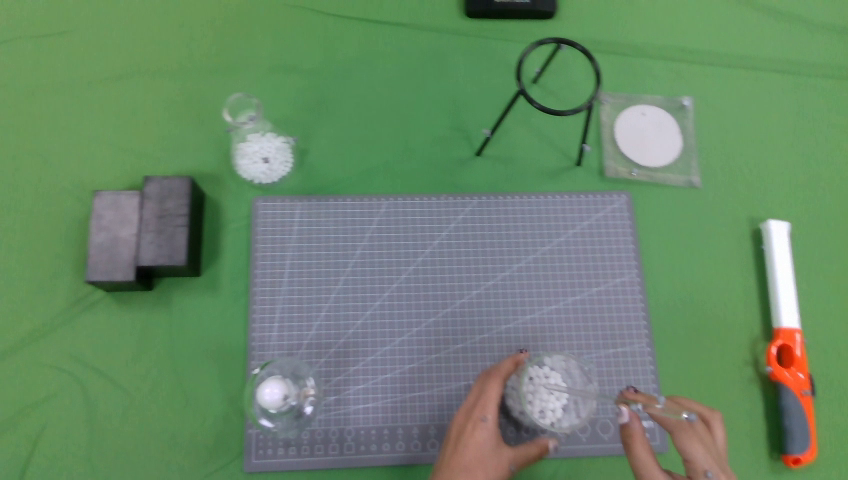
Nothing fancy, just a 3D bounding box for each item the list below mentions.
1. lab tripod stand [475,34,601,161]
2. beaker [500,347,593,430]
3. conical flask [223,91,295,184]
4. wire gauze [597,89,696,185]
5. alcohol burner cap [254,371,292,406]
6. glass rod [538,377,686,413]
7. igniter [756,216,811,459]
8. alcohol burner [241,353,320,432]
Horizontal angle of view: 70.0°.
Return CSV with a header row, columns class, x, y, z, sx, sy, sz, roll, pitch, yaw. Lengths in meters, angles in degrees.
class,x,y,z,sx,sy,sz,roll,pitch,yaw
lab tripod stand,0.133,-0.154,0.687,0.148,0.132,0.147,1,76,-4
beaker,0.122,0.150,0.618,0.084,0.100,0.073,-35,80,-13
conical flask,-0.185,-0.115,0.657,0.075,0.122,0.075,1,74,-3
wire gauze,0.279,-0.132,0.757,0.125,0.011,0.121,5,75,-5
alcohol burner cap,-0.140,0.137,0.555,0.034,0.048,0.033,2,78,-7
glass rod,0.144,0.125,0.501,0.008,0.199,0.008,2,83,-18
igniter,0.409,0.106,0.692,0.057,0.025,0.275,7,74,-13
alcohol burner,-0.143,0.147,0.590,0.078,0.119,0.077,1,73,-2
